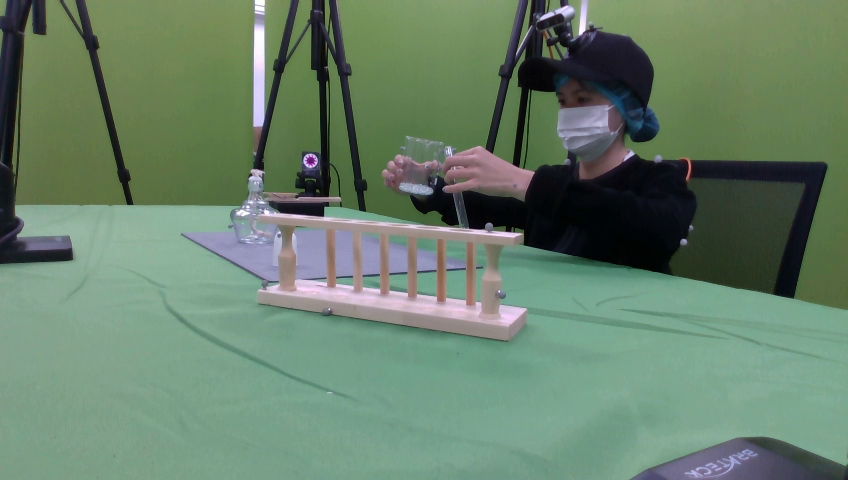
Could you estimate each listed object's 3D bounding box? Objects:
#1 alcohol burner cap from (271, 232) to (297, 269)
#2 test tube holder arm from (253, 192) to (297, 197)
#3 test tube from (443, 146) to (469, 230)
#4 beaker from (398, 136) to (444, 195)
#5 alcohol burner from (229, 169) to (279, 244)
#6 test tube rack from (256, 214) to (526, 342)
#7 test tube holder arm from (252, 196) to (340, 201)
[{"bbox_3d":[-0.175,0.012,0.760,0.034,0.048,0.034,2,8,0],"label":"alcohol burner cap"},{"bbox_3d":[-0.301,-0.092,1.223,0.088,0.010,0.015,0,7,-25],"label":"test tube holder arm"},{"bbox_3d":[0.052,-0.085,0.987,0.017,0.150,0.017,-10,-17,-3],"label":"test tube"},{"bbox_3d":[-0.007,-0.136,1.112,0.074,0.100,0.084,8,11,-11],"label":"beaker"},{"bbox_3d":[-0.268,-0.053,0.958,0.078,0.119,0.078,2,6,0],"label":"alcohol burner"},{"bbox_3d":[-0.032,0.027,0.547,0.241,0.085,0.067,5,7,22],"label":"test tube rack"},{"bbox_3d":[-0.260,-0.087,1.242,0.179,0.013,0.015,-1,7,-25],"label":"test tube holder arm"}]
